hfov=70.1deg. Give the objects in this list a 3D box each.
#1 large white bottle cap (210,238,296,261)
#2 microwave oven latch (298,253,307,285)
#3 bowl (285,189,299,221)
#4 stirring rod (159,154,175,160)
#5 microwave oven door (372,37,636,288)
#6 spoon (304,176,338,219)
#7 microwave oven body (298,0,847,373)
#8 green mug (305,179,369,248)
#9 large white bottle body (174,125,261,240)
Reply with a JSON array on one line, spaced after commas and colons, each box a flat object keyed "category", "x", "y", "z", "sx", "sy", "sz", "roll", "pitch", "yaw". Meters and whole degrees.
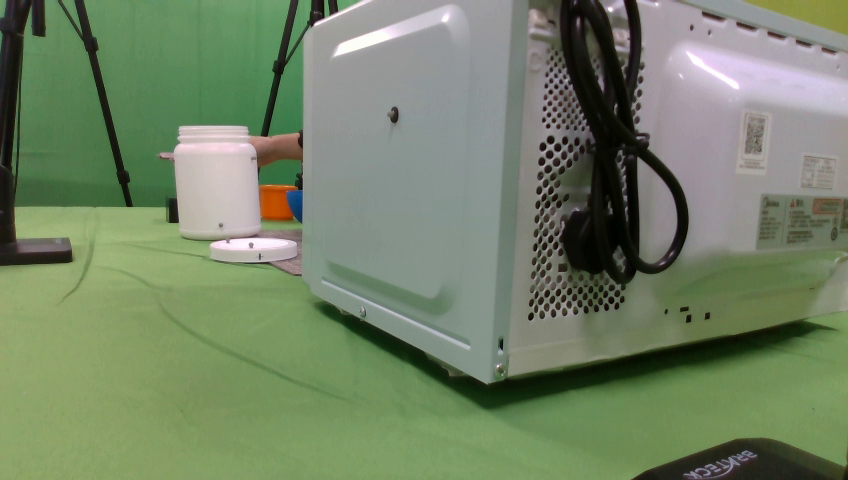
[{"category": "large white bottle cap", "x": -0.236, "y": 0.012, "z": 0.839, "sx": 0.115, "sy": 0.018, "sz": 0.115, "roll": 1, "pitch": 7, "yaw": 0}, {"category": "microwave oven latch", "x": -0.081, "y": 0.027, "z": 0.582, "sx": 0.079, "sy": 0.029, "sz": 0.030, "roll": -1, "pitch": 7, "yaw": -32}, {"category": "bowl", "x": -0.180, "y": -0.050, "z": 1.113, "sx": 0.151, "sy": 0.077, "sz": 0.151, "roll": 3, "pitch": 8, "yaw": 0}, {"category": "stirring rod", "x": -0.464, "y": -0.172, "z": 1.252, "sx": 0.014, "sy": 0.006, "sz": 0.177, "roll": 47, "pitch": 29, "yaw": 21}, {"category": "microwave oven door", "x": 0.109, "y": -0.080, "z": 0.686, "sx": 0.358, "sy": 0.243, "sz": 0.039, "roll": -2, "pitch": 9, "yaw": -33}, {"category": "spoon", "x": -0.201, "y": -0.084, "z": 1.146, "sx": 0.042, "sy": 0.021, "sz": 0.193, "roll": 3, "pitch": 30, "yaw": -25}, {"category": "microwave oven body", "x": 0.151, "y": -0.055, "z": 0.542, "sx": 0.444, "sy": 0.260, "sz": 0.324, "roll": -2, "pitch": 7, "yaw": -33}, {"category": "green mug", "x": -0.133, "y": -0.044, "z": 0.976, "sx": 0.092, "sy": 0.105, "sz": 0.126, "roll": 6, "pitch": 8, "yaw": 32}, {"category": "large white bottle body", "x": -0.349, "y": -0.100, "z": 1.025, "sx": 0.131, "sy": 0.184, "sz": 0.130, "roll": -1, "pitch": 9, "yaw": 0}]
